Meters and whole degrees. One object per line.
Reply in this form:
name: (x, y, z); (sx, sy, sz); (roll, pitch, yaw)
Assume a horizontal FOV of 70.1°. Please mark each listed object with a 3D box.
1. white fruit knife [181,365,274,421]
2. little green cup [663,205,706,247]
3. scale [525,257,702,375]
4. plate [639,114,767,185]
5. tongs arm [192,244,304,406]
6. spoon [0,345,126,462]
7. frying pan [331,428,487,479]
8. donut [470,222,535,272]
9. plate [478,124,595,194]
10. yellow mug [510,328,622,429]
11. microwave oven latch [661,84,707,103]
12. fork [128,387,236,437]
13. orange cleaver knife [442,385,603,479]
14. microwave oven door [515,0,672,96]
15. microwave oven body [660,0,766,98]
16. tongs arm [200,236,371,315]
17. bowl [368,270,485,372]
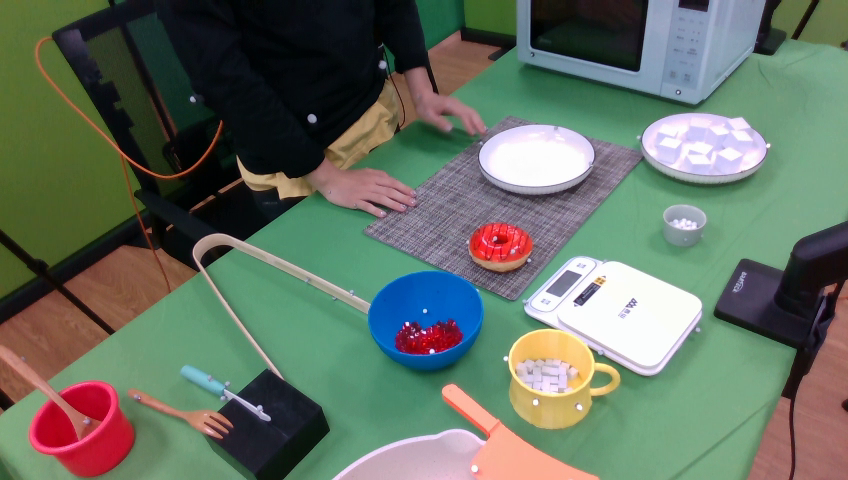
white fruit knife: (-0.246, 0.187, 0.747); (0.205, 0.027, 0.016); (9, 41, 40)
little green cup: (0.396, -0.020, 0.926); (0.061, 0.039, 0.061); (-4, 40, 4)
scale: (0.254, 0.091, 0.821); (0.199, 0.032, 0.149); (28, 51, 35)
plate: (0.489, -0.157, 1.074); (0.207, 0.039, 0.206); (-4, 40, 4)
tongs arm: (-0.268, 0.112, 0.885); (0.028, 0.028, 0.384); (-37, 47, -17)
spoon: (-0.434, 0.192, 0.720); (0.194, 0.021, 0.042); (47, 54, -7)
frying pan: (-0.089, 0.306, 0.564); (0.487, 0.103, 0.306); (10, 41, 7)
donut: (0.119, 0.009, 0.923); (0.099, 0.048, 0.098); (-4, 38, 3)
plate: (0.202, -0.142, 1.093); (0.209, 0.038, 0.208); (-4, 40, 4)
yellow mug: (0.168, 0.164, 0.721); (0.130, 0.064, 0.099); (0, 40, 8)
microwave oven latch: (0.517, -0.296, 1.204); (0.078, 0.029, 0.030); (27, 52, 35)
fork: (-0.305, 0.207, 0.744); (0.206, 0.019, 0.028); (3, 41, 36)
orange cleaver knife: (0.086, 0.219, 0.612); (0.209, 0.012, 0.077); (28, 49, 35)
microwave oven door: (0.343, -0.454, 1.259); (0.353, 0.245, 0.039); (26, 51, 33)
microwave oven body: (0.472, -0.513, 1.317); (0.438, 0.261, 0.327); (26, 51, 34)
tongs arm: (-0.209, 0.062, 0.924); (0.381, 0.027, 0.051); (23, 55, 32)
bowl: (0.007, 0.119, 0.791); (0.151, 0.077, 0.150); (-5, 40, 4)
